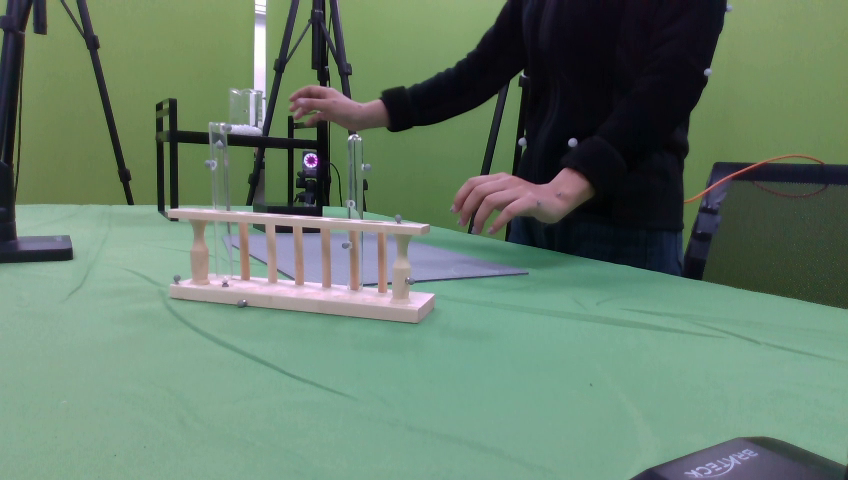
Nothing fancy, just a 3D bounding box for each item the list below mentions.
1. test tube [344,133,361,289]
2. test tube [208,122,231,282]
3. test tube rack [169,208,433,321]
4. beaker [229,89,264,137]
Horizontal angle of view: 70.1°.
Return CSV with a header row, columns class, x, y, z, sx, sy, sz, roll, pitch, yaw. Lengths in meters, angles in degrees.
class,x,y,z,sx,sy,sz,roll,pitch,yaw
test tube,-0.068,-0.025,0.575,0.017,0.150,0.017,1,10,0
test tube,-0.191,-0.034,0.565,0.017,0.150,0.017,1,11,0
test tube rack,-0.115,0.018,0.574,0.242,0.085,0.067,4,8,13
beaker,-0.391,-0.277,1.329,0.074,0.100,0.084,2,8,-1
